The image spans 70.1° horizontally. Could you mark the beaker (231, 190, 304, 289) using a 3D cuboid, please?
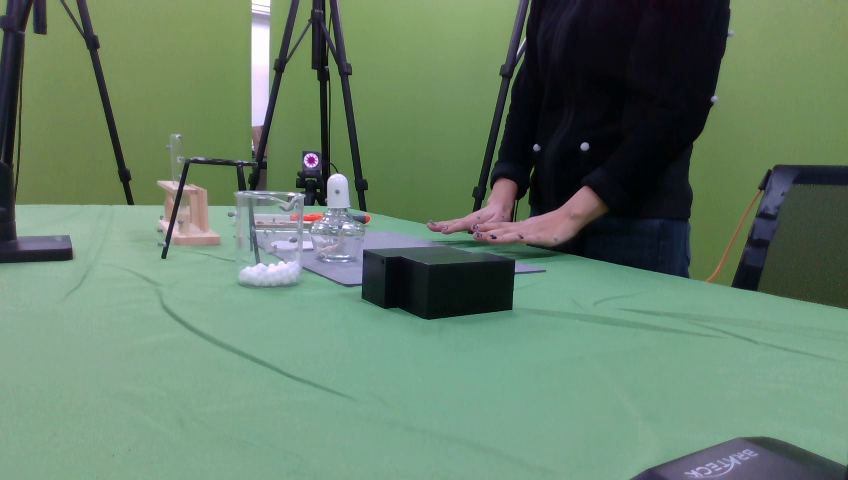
[{"bbox_3d":[-0.166,-0.001,0.653,0.074,0.100,0.083,-4,10,-40],"label":"beaker"}]

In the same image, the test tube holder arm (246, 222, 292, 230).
[{"bbox_3d":[-0.291,-0.026,1.130,0.088,0.015,0.010,-1,43,-29],"label":"test tube holder arm"}]

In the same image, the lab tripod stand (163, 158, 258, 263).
[{"bbox_3d":[-0.265,-0.041,0.802,0.148,0.131,0.148,4,7,0],"label":"lab tripod stand"}]

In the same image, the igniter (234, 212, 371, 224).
[{"bbox_3d":[-0.245,-0.045,1.248,0.278,0.025,0.057,-1,-2,-25],"label":"igniter"}]

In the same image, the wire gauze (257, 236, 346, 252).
[{"bbox_3d":[-0.189,0.005,0.931,0.122,0.011,0.124,1,7,-21],"label":"wire gauze"}]

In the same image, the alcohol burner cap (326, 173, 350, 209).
[{"bbox_3d":[-0.116,-0.065,0.808,0.034,0.048,0.034,-3,10,1],"label":"alcohol burner cap"}]

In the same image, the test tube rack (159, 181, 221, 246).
[{"bbox_3d":[-0.395,-0.049,1.010,0.067,0.085,0.241,-2,8,-28],"label":"test tube rack"}]

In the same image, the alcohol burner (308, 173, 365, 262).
[{"bbox_3d":[-0.117,-0.030,0.813,0.078,0.119,0.078,4,9,0],"label":"alcohol burner"}]

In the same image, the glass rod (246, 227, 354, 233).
[{"bbox_3d":[-0.224,-0.017,1.109,0.201,0.008,0.008,1,7,-27],"label":"glass rod"}]

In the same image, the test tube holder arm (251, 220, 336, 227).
[{"bbox_3d":[-0.253,-0.031,1.156,0.179,0.015,0.013,-2,44,-30],"label":"test tube holder arm"}]

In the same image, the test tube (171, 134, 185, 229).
[{"bbox_3d":[-0.390,-0.092,0.963,0.017,0.150,0.017,-1,4,0],"label":"test tube"}]
